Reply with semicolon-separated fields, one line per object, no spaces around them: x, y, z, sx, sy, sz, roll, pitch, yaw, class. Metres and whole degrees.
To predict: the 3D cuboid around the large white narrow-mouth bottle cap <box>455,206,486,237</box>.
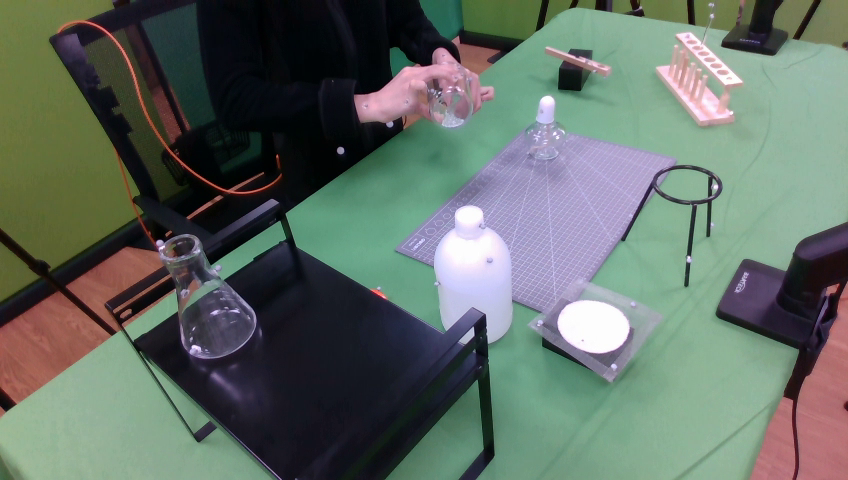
0.056;-0.023;0.734;0.038;0.024;0.037;-4;41;4;large white narrow-mouth bottle cap

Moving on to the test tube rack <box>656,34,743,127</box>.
0.553;-0.330;1.233;0.067;0.085;0.241;-7;40;2;test tube rack

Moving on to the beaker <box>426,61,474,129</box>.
0.042;-0.226;0.963;0.074;0.084;0.100;-7;38;3;beaker

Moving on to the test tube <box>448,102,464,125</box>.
0.059;-0.228;1.096;0.017;0.017;0.150;-1;1;8;test tube

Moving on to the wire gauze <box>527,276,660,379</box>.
0.213;0.103;0.763;0.124;0.011;0.122;30;52;35;wire gauze

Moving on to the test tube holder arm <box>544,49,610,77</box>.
0.330;-0.387;1.314;0.013;0.015;0.177;-25;43;-32;test tube holder arm

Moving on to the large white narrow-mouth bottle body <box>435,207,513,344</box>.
0.065;0.041;0.791;0.102;0.195;0.101;-4;41;4;large white narrow-mouth bottle body

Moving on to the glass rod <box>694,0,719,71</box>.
0.561;-0.401;1.214;0.008;0.200;0.008;-1;48;2;glass rod

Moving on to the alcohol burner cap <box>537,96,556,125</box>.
0.223;-0.237;1.095;0.034;0.048;0.033;0;43;1;alcohol burner cap

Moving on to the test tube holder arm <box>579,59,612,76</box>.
0.362;-0.368;1.289;0.010;0.015;0.087;-25;43;-31;test tube holder arm

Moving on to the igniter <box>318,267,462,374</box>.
-0.059;0.107;0.862;0.274;0.025;0.057;28;62;34;igniter

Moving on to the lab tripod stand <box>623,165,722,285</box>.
0.365;-0.030;0.875;0.148;0.132;0.147;-6;41;6;lab tripod stand

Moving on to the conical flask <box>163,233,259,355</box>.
-0.216;0.051;0.601;0.075;0.122;0.075;-5;40;4;conical flask

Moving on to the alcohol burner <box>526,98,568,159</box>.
0.228;-0.210;1.118;0.078;0.119;0.077;-5;43;5;alcohol burner
